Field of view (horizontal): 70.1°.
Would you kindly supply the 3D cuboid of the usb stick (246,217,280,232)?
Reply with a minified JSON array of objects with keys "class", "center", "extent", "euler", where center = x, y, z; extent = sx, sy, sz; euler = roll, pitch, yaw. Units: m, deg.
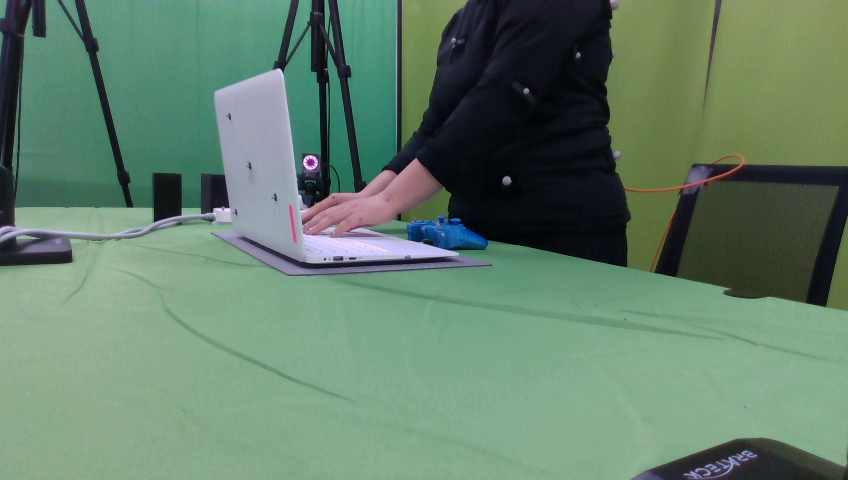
[{"class":"usb stick","center":[-0.297,-0.028,1.113],"extent":[0.059,0.027,0.021],"euler":[-4,10,-30]}]

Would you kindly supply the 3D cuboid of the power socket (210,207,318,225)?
[{"class":"power socket","center":[-0.335,-0.051,1.281],"extent":[0.228,0.032,0.072],"euler":[-1,9,-29]}]

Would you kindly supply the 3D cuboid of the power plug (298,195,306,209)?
[{"class":"power plug","center":[-0.284,-0.075,1.342],"extent":[0.035,0.052,0.072],"euler":[0,3,-18]}]

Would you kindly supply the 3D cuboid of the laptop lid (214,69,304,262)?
[{"class":"laptop lid","center":[-0.247,-0.107,0.865],"extent":[0.013,0.241,0.355],"euler":[-11,14,-30]}]

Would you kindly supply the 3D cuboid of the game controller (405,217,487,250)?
[{"class":"game controller","center":[0.033,-0.013,1.067],"extent":[0.097,0.051,0.154],"euler":[-6,10,-29]}]

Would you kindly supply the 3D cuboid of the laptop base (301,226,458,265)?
[{"class":"laptop base","center":[-0.137,0.007,0.951],"extent":[0.237,0.023,0.352],"euler":[2,6,-32]}]
